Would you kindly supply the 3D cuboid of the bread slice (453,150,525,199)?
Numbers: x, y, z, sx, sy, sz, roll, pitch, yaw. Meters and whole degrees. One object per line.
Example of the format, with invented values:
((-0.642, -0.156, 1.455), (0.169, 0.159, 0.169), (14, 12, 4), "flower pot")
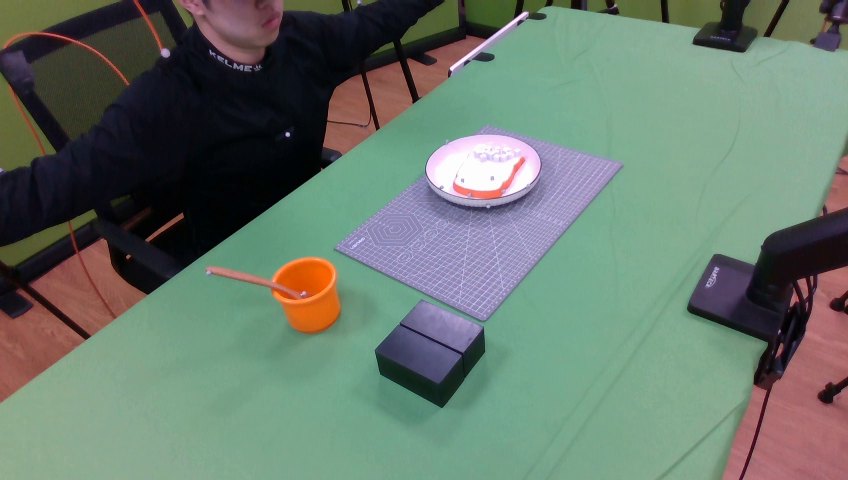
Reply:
((0.112, -0.118, 1.079), (0.104, 0.019, 0.131), (11, 42, 21), "bread slice")

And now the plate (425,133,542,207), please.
((0.106, -0.121, 1.079), (0.209, 0.038, 0.208), (-4, 41, 4), "plate")

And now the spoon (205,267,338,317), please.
((-0.202, 0.067, 0.822), (0.021, 0.195, 0.041), (-45, 38, 25), "spoon")
